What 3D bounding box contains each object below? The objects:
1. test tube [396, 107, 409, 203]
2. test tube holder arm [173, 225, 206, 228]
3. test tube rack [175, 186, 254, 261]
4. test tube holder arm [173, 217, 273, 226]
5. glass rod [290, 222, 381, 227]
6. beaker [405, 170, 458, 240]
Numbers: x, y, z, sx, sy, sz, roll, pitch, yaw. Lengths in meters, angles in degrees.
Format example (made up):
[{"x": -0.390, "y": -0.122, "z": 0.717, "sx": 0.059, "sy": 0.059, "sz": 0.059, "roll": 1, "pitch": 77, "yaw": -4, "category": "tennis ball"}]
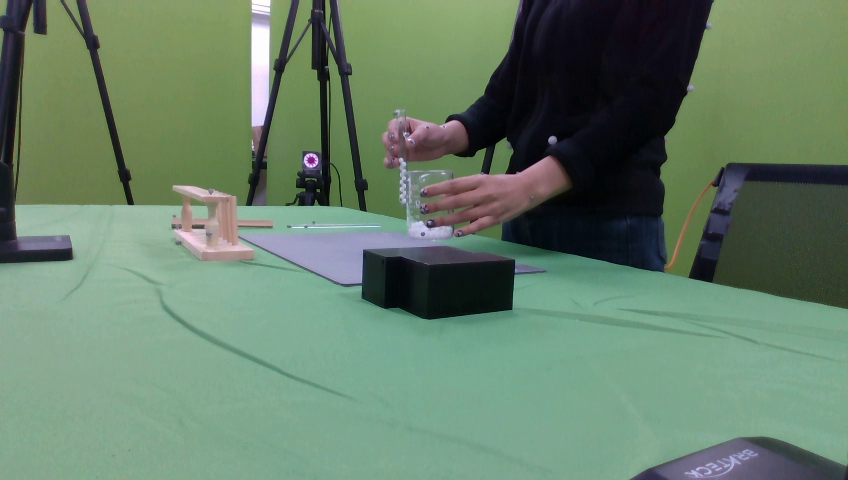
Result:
[{"x": -0.033, "y": -0.132, "z": 0.950, "sx": 0.017, "sy": 0.150, "sz": 0.017, "roll": -2, "pitch": 16, "yaw": 1, "category": "test tube"}, {"x": -0.415, "y": -0.030, "z": 1.113, "sx": 0.088, "sy": 0.015, "sz": 0.010, "roll": -1, "pitch": -22, "yaw": -25, "category": "test tube holder arm"}, {"x": -0.314, "y": -0.031, "z": 0.889, "sx": 0.067, "sy": 0.085, "sz": 0.241, "roll": -2, "pitch": 8, "yaw": -30, "category": "test tube rack"}, {"x": -0.371, "y": -0.033, "z": 1.128, "sx": 0.179, "sy": 0.015, "sz": 0.013, "roll": -1, "pitch": -22, "yaw": -26, "category": "test tube holder arm"}, {"x": -0.178, "y": -0.033, "z": 1.247, "sx": 0.201, "sy": 0.008, "sz": 0.008, "roll": -2, "pitch": 8, "yaw": -30, "category": "glass rod"}, {"x": 0.009, "y": -0.051, "z": 0.883, "sx": 0.074, "sy": 0.100, "sz": 0.083, "roll": -3, "pitch": 5, "yaw": -22, "category": "beaker"}]
